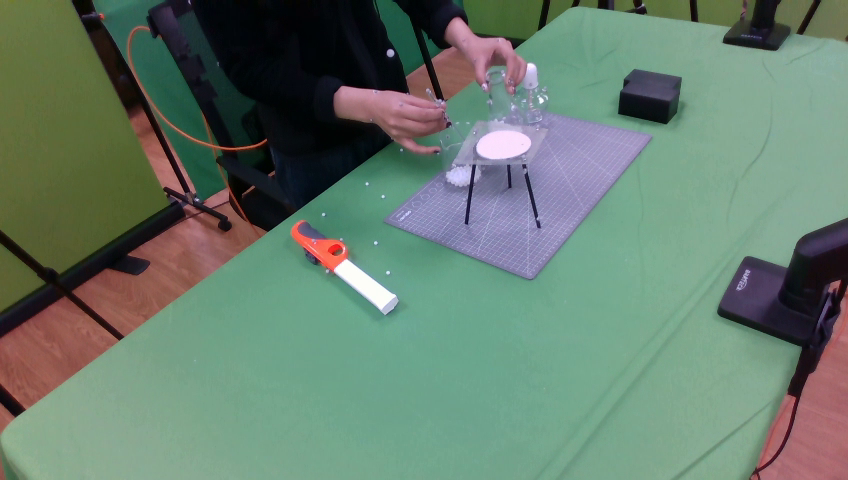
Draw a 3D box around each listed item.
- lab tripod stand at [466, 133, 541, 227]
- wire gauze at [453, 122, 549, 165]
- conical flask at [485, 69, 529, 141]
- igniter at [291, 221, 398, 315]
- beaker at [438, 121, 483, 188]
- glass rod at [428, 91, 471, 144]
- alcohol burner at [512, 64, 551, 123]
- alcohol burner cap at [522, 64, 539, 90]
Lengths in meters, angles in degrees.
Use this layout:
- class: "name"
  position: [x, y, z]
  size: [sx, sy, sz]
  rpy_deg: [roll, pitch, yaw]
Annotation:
- class: "lab tripod stand"
  position: [0.129, -0.099, 0.985]
  size: [0.148, 0.132, 0.147]
  rpy_deg: [-6, 38, 6]
- class: "wire gauze"
  position: [0.122, -0.150, 0.942]
  size: [0.121, 0.011, 0.125]
  rpy_deg: [8, 42, 21]
- class: "conical flask"
  position: [0.140, -0.242, 1.075]
  size: [0.075, 0.123, 0.075]
  rpy_deg: [-12, 46, 13]
- class: "igniter"
  position: [-0.136, 0.037, 0.962]
  size: [0.057, 0.025, 0.274]
  rpy_deg: [-41, 48, -18]
- class: "beaker"
  position: [0.066, -0.149, 1.084]
  size: [0.073, 0.101, 0.084]
  rpy_deg: [20, 49, 31]
- class: "glass rod"
  position: [0.046, -0.201, 1.013]
  size: [0.008, 0.201, 0.008]
  rpy_deg: [-6, 73, 21]
- class: "alcohol burner"
  position: [0.215, -0.298, 1.220]
  size: [0.078, 0.120, 0.077]
  rpy_deg: [-7, 40, 7]
- class: "alcohol burner cap"
  position: [0.210, -0.325, 1.195]
  size: [0.034, 0.048, 0.033]
  rpy_deg: [-6, 45, 7]
